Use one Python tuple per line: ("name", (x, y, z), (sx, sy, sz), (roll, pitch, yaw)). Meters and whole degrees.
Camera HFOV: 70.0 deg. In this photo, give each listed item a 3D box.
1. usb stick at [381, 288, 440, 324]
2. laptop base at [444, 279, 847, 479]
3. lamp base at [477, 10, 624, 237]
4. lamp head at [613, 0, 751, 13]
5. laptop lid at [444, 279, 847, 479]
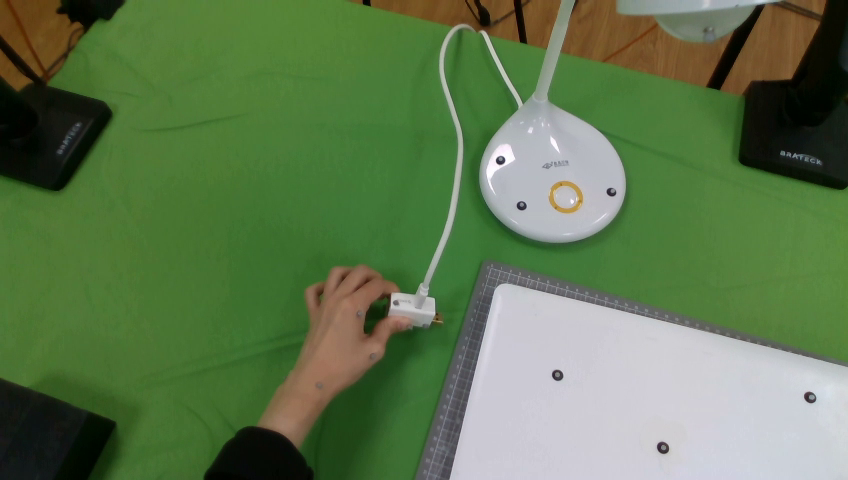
("usb stick", (-0.010, 0.065, 0.584), (0.059, 0.027, 0.021), (12, 41, -17))
("laptop base", (0.209, 0.182, 0.548), (0.354, 0.023, 0.234), (13, 69, 6))
("lamp base", (0.132, -0.119, 0.601), (0.161, 0.181, 0.177), (-20, 63, -9))
("lamp head", (0.156, -0.192, 0.327), (0.112, 0.111, 0.123), (-12, 109, -5))
("laptop lid", (0.207, 0.179, 0.537), (0.356, 0.013, 0.240), (15, 68, 7))
